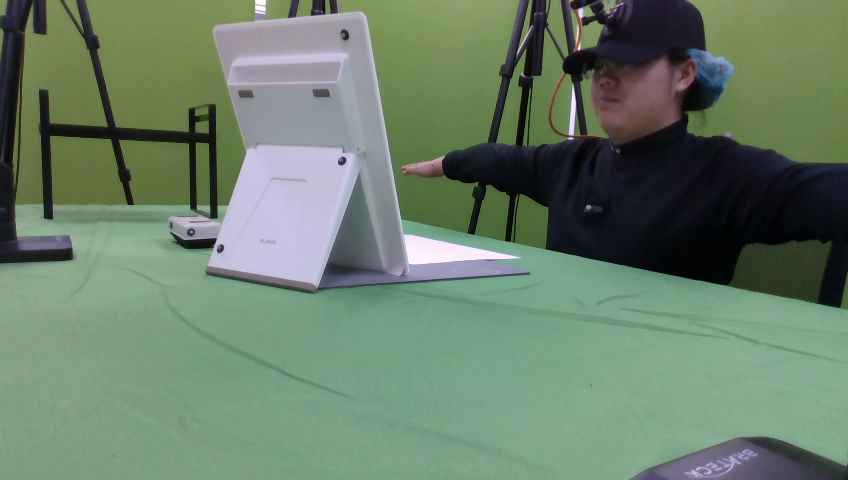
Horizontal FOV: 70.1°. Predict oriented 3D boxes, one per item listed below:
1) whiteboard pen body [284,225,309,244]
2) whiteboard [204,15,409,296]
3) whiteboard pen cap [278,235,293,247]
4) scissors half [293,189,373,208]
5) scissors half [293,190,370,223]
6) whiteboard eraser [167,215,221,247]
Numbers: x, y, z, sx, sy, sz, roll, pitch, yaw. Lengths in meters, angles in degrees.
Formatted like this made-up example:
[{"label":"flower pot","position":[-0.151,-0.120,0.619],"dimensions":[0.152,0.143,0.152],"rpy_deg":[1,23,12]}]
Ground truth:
[{"label":"whiteboard pen body","position":[-0.208,-0.008,0.985],"dimensions":[0.017,0.017,0.141],"rpy_deg":[3,9,1]},{"label":"whiteboard","position":[-0.166,-0.072,0.669],"dimensions":[0.216,0.305,0.144],"rpy_deg":[8,30,30]},{"label":"whiteboard pen cap","position":[-0.211,0.001,0.928],"dimensions":[0.018,0.018,0.033],"rpy_deg":[3,6,1]},{"label":"scissors half","position":[-0.201,-0.097,1.332],"dimensions":[0.175,0.040,0.013],"rpy_deg":[5,18,-4]},{"label":"scissors half","position":[-0.205,-0.078,1.337],"dimensions":[0.175,0.040,0.013],"rpy_deg":[22,10,-8]},{"label":"whiteboard eraser","position":[-0.350,-0.014,0.920],"dimensions":[0.056,0.042,0.112],"rpy_deg":[0,7,-35]}]
